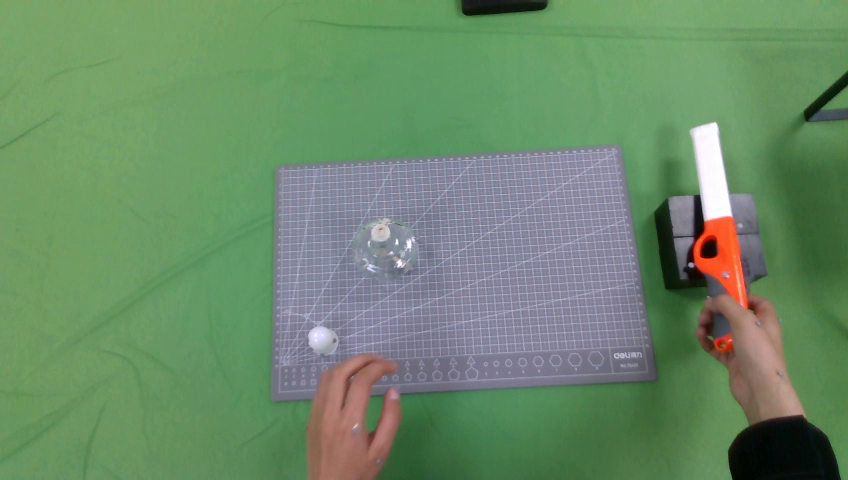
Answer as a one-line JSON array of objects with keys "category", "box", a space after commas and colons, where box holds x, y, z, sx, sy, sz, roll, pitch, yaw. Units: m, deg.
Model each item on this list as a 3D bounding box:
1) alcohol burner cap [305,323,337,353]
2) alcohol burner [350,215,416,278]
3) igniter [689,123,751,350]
[{"category": "alcohol burner cap", "box": [-0.121, 0.113, 0.705, 0.034, 0.048, 0.033, 0, 73, 2]}, {"category": "alcohol burner", "box": [-0.048, 0.002, 0.698, 0.078, 0.120, 0.077, 0, 73, 0]}, {"category": "igniter", "box": [0.330, -0.012, 0.684, 0.057, 0.025, 0.274, -11, 61, 32]}]
